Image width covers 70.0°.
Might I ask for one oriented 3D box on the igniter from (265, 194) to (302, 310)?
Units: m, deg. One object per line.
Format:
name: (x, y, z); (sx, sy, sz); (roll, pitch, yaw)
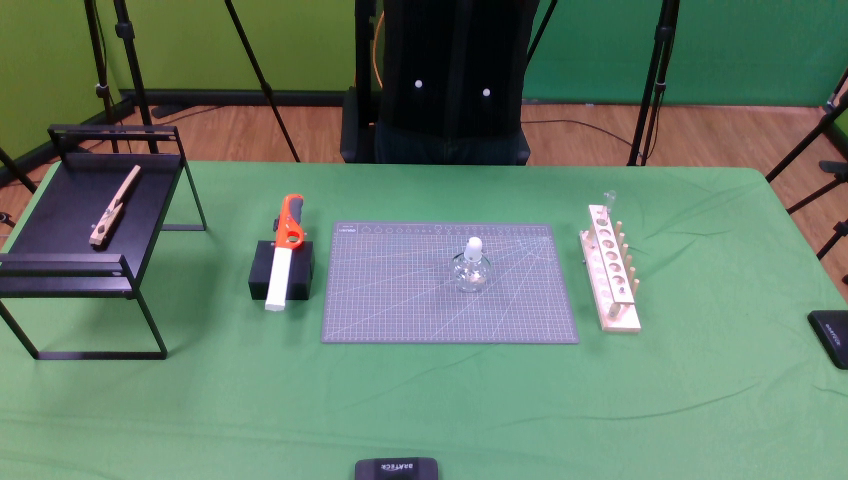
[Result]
igniter: (-0.253, 0.011, 1.099); (0.057, 0.025, 0.274); (9, 46, -12)

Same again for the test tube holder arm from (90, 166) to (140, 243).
test tube holder arm: (-0.492, -0.061, 0.970); (0.013, 0.015, 0.177); (28, 39, -24)

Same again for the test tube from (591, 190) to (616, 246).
test tube: (0.338, -0.038, 1.149); (0.017, 0.151, 0.017); (0, 51, 0)

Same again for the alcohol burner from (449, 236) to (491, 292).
alcohol burner: (0.086, 0.038, 1.101); (0.078, 0.119, 0.077); (3, 44, -2)

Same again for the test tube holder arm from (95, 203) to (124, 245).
test tube holder arm: (-0.488, -0.027, 0.940); (0.010, 0.015, 0.087); (29, 38, -23)

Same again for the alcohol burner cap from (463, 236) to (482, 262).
alcohol burner cap: (0.088, 0.014, 1.074); (0.034, 0.048, 0.033); (1, 52, -1)

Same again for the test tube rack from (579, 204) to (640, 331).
test tube rack: (0.353, 0.047, 1.137); (0.067, 0.085, 0.241); (2, 46, -2)
